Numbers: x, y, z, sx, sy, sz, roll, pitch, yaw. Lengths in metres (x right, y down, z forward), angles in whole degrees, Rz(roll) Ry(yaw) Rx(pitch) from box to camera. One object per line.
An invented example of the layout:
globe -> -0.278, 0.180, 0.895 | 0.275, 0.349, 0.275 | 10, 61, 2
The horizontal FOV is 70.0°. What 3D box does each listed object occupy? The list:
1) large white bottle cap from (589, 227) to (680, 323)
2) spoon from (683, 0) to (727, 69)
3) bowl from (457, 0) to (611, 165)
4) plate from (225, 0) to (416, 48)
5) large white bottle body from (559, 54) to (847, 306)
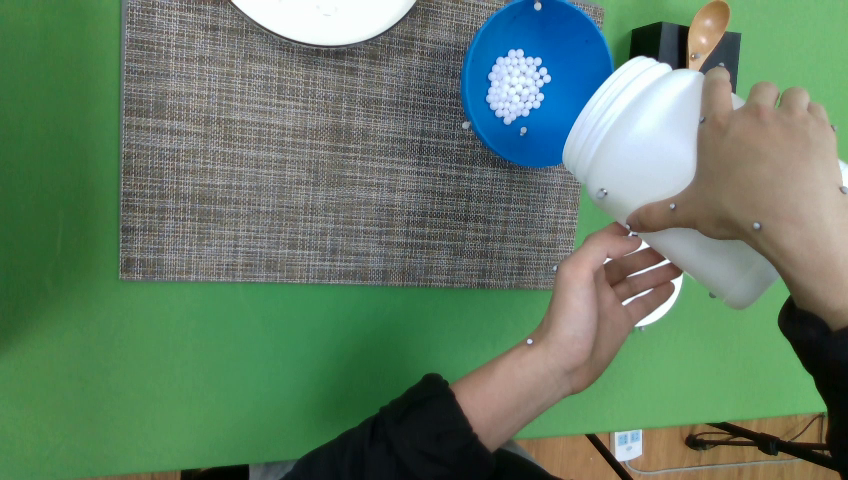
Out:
large white bottle cap -> 0.243, 0.039, 0.696 | 0.115, 0.017, 0.115 | -3, 101, -18
spoon -> 0.259, -0.149, 0.620 | 0.042, 0.021, 0.194 | 15, 99, -22
bowl -> 0.093, -0.148, 0.578 | 0.152, 0.076, 0.151 | -3, 100, -17
plate -> -0.094, -0.269, 0.519 | 0.210, 0.038, 0.209 | -2, 97, -18
large white bottle body -> 0.211, -0.052, 0.478 | 0.130, 0.131, 0.183 | -45, 67, -7
